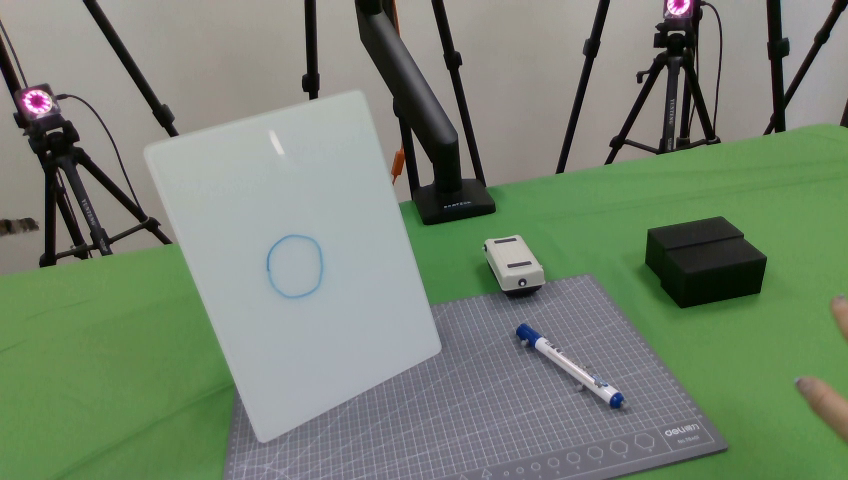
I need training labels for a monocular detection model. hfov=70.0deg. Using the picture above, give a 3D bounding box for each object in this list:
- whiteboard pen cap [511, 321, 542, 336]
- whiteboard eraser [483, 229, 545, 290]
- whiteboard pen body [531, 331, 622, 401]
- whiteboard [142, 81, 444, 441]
[{"bbox_3d":[0.116,0.099,0.680,0.033,0.018,0.018,-1,31,15],"label":"whiteboard pen cap"},{"bbox_3d":[0.115,0.025,0.789,0.055,0.042,0.111,-12,27,-3],"label":"whiteboard eraser"},{"bbox_3d":[0.150,0.124,0.634,0.017,0.017,0.139,-23,34,-25],"label":"whiteboard pen body"},{"bbox_3d":[-0.140,0.013,0.661,0.217,0.307,0.143,-23,15,-23],"label":"whiteboard"}]
